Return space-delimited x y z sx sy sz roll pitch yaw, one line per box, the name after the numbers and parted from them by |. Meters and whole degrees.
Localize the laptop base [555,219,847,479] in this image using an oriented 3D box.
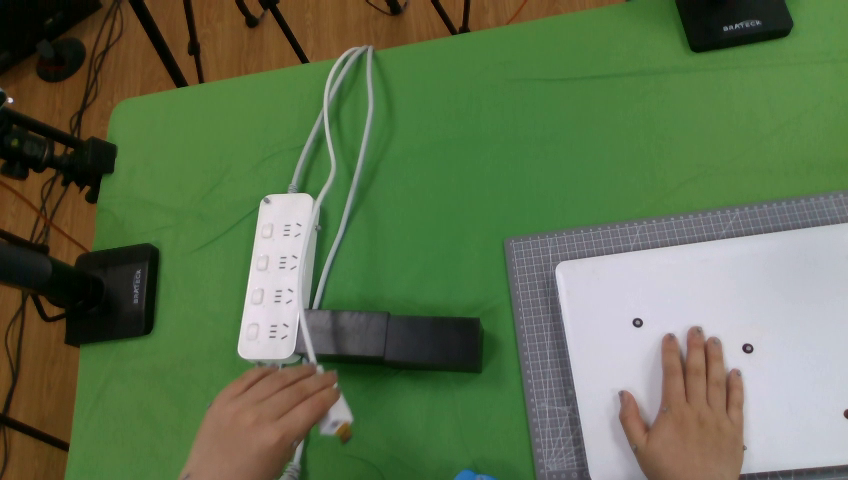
0.327 0.106 0.620 0.354 0.023 0.234 -8 72 8 | laptop base

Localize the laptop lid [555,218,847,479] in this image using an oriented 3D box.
0.325 0.105 0.609 0.356 0.013 0.240 -7 72 8 | laptop lid

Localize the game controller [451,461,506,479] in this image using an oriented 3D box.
0.032 0.292 0.591 0.155 0.052 0.096 -43 64 -7 | game controller

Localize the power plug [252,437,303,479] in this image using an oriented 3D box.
-0.158 0.253 0.656 0.052 0.035 0.072 -12 28 29 | power plug

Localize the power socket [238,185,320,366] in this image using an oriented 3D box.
-0.172 0.036 0.732 0.072 0.033 0.225 0 69 9 | power socket

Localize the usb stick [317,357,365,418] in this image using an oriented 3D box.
-0.073 0.137 0.546 0.027 0.021 0.058 -21 58 -27 | usb stick
